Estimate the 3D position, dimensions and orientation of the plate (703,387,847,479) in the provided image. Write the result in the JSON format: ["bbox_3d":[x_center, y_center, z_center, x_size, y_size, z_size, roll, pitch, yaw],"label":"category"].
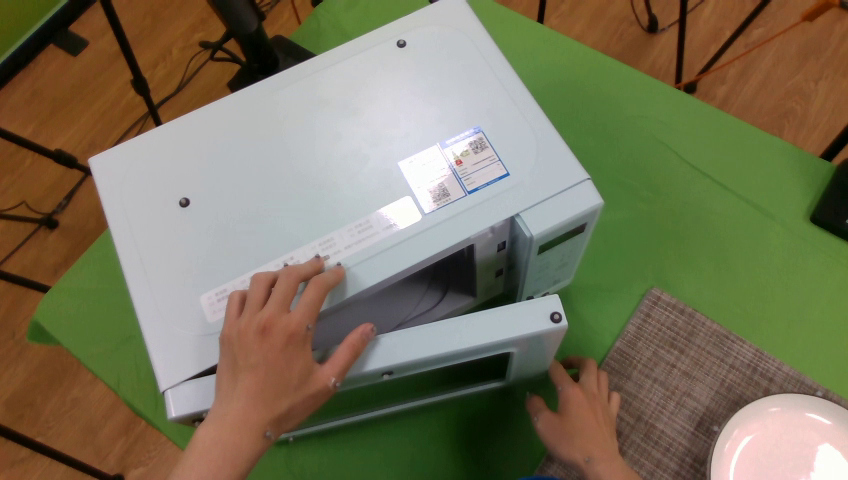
[{"bbox_3d":[0.411,0.269,0.666,0.207,0.039,0.206,-2,67,4],"label":"plate"}]

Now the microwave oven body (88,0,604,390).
[{"bbox_3d":[-0.082,-0.029,0.711,0.442,0.262,0.323,-27,68,-6],"label":"microwave oven body"}]

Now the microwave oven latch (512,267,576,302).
[{"bbox_3d":[0.151,0.048,0.764,0.079,0.030,0.030,-25,68,-5],"label":"microwave oven latch"}]

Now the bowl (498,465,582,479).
[{"bbox_3d":[0.127,0.324,0.653,0.151,0.077,0.150,-3,66,7],"label":"bowl"}]

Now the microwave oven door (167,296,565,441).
[{"bbox_3d":[-0.041,0.142,0.632,0.356,0.245,0.039,-13,66,-1],"label":"microwave oven door"}]
